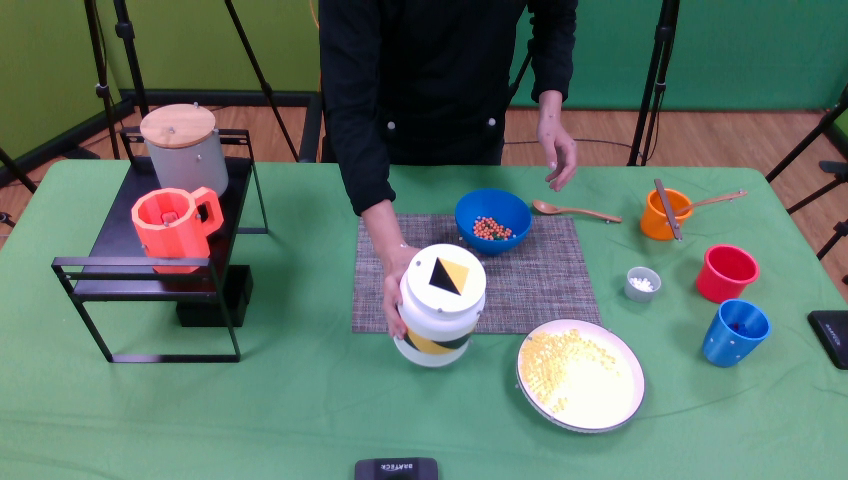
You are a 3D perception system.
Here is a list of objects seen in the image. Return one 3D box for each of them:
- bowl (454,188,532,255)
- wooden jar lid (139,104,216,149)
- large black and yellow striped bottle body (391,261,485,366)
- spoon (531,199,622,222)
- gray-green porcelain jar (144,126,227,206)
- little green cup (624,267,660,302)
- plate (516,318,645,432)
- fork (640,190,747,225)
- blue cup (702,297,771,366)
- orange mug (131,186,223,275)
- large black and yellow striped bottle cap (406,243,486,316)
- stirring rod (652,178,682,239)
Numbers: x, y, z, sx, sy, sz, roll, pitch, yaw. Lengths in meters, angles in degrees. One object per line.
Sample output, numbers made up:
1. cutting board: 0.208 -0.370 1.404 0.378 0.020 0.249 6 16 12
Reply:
1. bowl: 0.130 -0.024 1.186 0.151 0.077 0.150 3 45 -2
2. wooden jar lid: -0.372 -0.169 0.920 0.108 0.021 0.107 4 44 -4
3. large black and yellow striped bottle body: 0.021 0.102 0.937 0.131 0.185 0.130 5 56 -7
4. spoon: 0.322 -0.060 1.279 0.194 0.022 0.041 8 33 4
5. gray-green porcelain jar: -0.375 -0.126 0.967 0.106 0.127 0.105 2 46 -2
6. little green cup: 0.406 0.084 1.135 0.061 0.039 0.061 3 45 -3
7. plate: 0.253 0.221 0.992 0.209 0.038 0.208 2 46 -2
8. fork: 0.533 -0.064 1.211 0.207 0.019 0.028 -22 28 38
9. blue cup: 0.519 0.162 1.025 0.093 0.101 0.092 3 45 -3
10. orange mug: -0.354 -0.023 0.888 0.083 0.101 0.126 31 56 24
11. large black and yellow striped bottle cap: 0.032 0.054 0.868 0.115 0.019 0.114 6 56 -8
12. stirring rod: 0.481 -0.065 1.204 0.014 0.006 0.175 1 46 0
